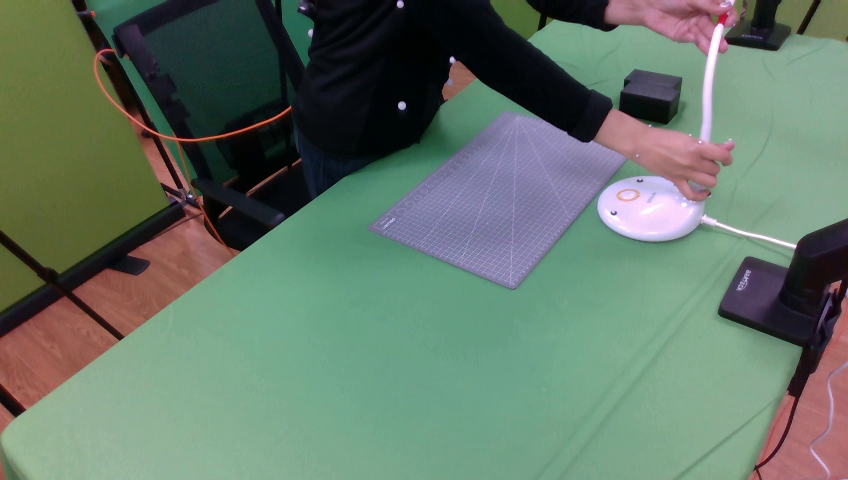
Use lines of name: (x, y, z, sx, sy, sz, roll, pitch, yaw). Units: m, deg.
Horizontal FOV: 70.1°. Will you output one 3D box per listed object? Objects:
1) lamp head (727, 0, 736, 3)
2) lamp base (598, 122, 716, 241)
lamp head: (0.432, -0.389, 0.823, 0.112, 0.124, 0.112, -18, 50, 23)
lamp base: (0.365, -0.109, 0.920, 0.178, 0.181, 0.160, 14, 46, 22)
